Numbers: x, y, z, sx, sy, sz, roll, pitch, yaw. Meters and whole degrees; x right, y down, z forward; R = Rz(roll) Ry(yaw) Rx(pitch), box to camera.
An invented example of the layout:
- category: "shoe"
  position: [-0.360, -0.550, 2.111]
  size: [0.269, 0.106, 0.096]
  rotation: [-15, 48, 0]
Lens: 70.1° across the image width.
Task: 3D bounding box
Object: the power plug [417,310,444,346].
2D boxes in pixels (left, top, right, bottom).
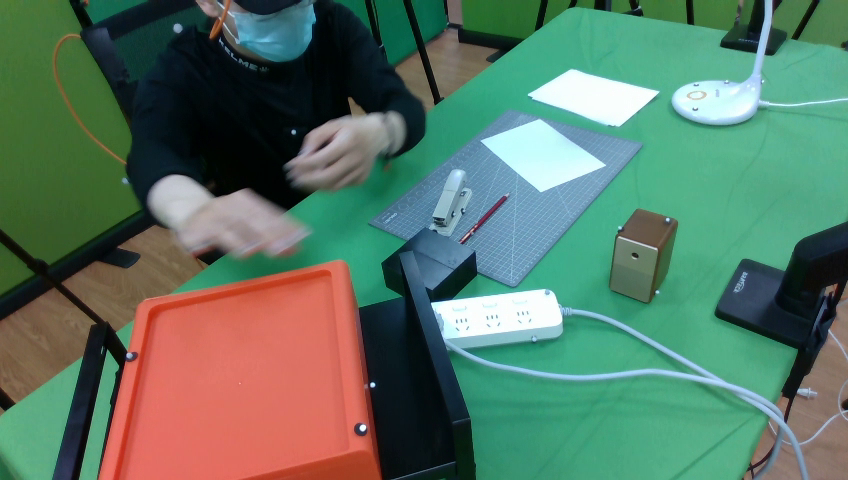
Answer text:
- category: "power plug"
  position: [0.006, 0.122, 0.785]
  size: [0.035, 0.053, 0.072]
  rotation: [0, 40, 9]

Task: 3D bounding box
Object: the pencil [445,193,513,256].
- category: "pencil"
  position: [0.095, -0.030, 1.000]
  size: [0.012, 0.012, 0.194]
  rotation: [23, 47, 31]

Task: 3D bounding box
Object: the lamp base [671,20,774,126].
- category: "lamp base"
  position: [0.581, -0.332, 1.154]
  size: [0.179, 0.181, 0.160]
  rotation: [2, 41, 7]

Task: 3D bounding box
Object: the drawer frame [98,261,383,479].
- category: "drawer frame"
  position: [-0.149, 0.129, 0.520]
  size: [0.202, 0.083, 0.212]
  rotation: [-12, 41, -6]

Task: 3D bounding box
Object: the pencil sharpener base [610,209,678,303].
- category: "pencil sharpener base"
  position: [0.304, 0.021, 0.839]
  size: [0.061, 0.107, 0.077]
  rotation: [21, 48, 30]

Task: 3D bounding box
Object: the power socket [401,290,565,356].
- category: "power socket"
  position: [0.080, 0.112, 0.822]
  size: [0.227, 0.033, 0.072]
  rotation: [-6, 41, 0]

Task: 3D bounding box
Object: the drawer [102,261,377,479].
- category: "drawer"
  position: [-0.151, 0.127, 0.524]
  size: [0.195, 0.073, 0.210]
  rotation: [-11, 41, -5]

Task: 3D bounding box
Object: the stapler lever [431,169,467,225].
- category: "stapler lever"
  position: [0.043, -0.074, 1.010]
  size: [0.026, 0.040, 0.118]
  rotation: [9, 44, 21]

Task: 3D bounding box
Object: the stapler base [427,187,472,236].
- category: "stapler base"
  position: [0.045, -0.057, 1.028]
  size: [0.041, 0.024, 0.130]
  rotation: [9, 44, 20]

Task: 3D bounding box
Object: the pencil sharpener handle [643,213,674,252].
- category: "pencil sharpener handle"
  position: [0.337, -0.016, 0.857]
  size: [0.035, 0.068, 0.031]
  rotation: [1, 35, 44]

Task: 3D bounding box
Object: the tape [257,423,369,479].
- category: "tape"
  position: [-0.121, 0.262, 0.660]
  size: [0.117, 0.053, 0.116]
  rotation: [-4, 40, 4]
